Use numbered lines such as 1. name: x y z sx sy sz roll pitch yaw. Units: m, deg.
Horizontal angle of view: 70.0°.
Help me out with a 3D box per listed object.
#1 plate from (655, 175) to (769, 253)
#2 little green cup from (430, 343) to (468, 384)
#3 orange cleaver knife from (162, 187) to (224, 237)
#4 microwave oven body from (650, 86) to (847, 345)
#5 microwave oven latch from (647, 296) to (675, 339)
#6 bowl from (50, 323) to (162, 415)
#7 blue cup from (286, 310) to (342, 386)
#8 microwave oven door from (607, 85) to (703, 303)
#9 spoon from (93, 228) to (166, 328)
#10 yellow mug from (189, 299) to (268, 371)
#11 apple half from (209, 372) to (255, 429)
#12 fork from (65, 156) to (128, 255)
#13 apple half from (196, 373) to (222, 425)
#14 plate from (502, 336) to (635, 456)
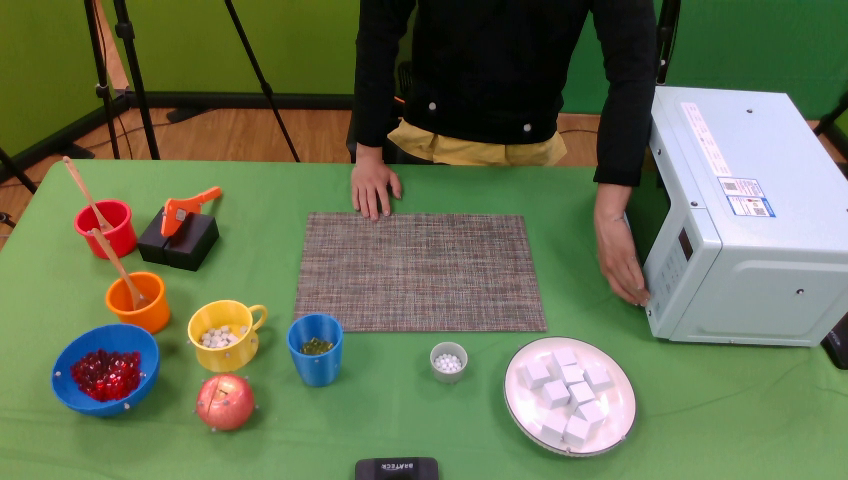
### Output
1. plate: 0.555 -0.047 1.182 0.209 0.038 0.208 1 45 -1
2. little green cup: 0.039 0.204 0.994 0.061 0.039 0.061 2 46 -2
3. orange cleaver knife: -0.448 -0.058 1.181 0.012 0.077 0.211 13 17 6
4. microwave oven body: 0.568 -0.053 1.118 0.326 0.261 0.439 2 45 -1
5. microwave oven latch: 0.413 0.134 1.061 0.030 0.029 0.078 4 45 1
6. bowl: -0.472 0.209 0.924 0.151 0.077 0.150 3 45 -2
7. blue cup: -0.169 0.179 0.958 0.093 0.101 0.092 1 44 -1
8. microwave oven door: 0.423 -0.094 1.140 0.039 0.245 0.353 2 46 -1
9. spoon: -0.495 0.063 1.014 0.041 0.194 0.021 -34 12 -32
10. yellow mug: -0.315 0.148 1.002 0.131 0.064 0.099 -33 56 -31
11. apple half: -0.282 0.244 0.908 0.053 0.075 0.080 7 43 -1
12. fork: -0.613 -0.064 1.130 0.028 0.018 0.207 -29 97 -18
13. apple half: -0.321 0.240 0.907 0.033 0.081 0.081 7 46 -1
14. plate: 0.226 0.248 0.963 0.208 0.039 0.206 2 46 -2
